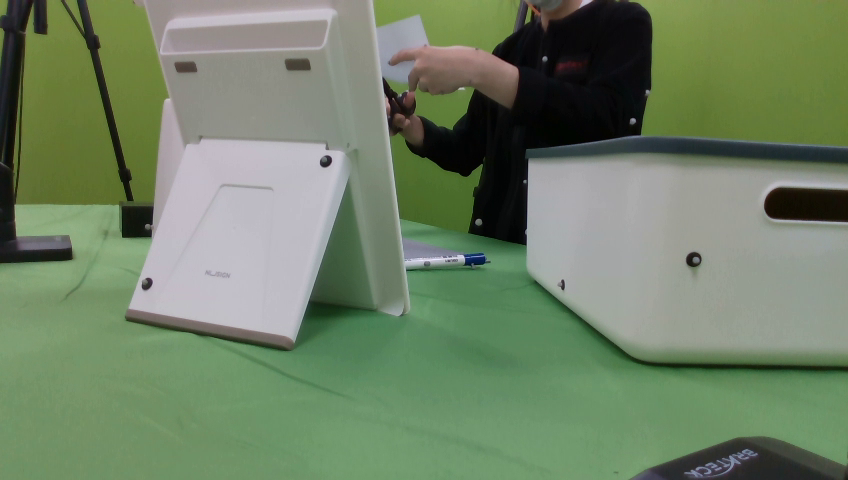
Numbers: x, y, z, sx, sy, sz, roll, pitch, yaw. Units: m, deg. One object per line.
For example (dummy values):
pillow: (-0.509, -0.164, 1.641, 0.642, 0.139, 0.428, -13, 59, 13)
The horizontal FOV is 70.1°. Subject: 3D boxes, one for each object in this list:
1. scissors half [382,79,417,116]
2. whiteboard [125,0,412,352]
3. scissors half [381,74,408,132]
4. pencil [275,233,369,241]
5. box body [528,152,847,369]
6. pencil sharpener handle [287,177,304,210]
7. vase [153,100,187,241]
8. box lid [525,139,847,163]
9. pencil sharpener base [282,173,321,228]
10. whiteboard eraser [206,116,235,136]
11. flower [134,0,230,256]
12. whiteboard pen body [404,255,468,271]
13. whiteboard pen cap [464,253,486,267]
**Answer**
scissors half: (-0.052, -0.266, 1.085, 0.013, 0.040, 0.176, 23, 2, 24)
whiteboard: (-0.151, -0.049, 0.472, 0.216, 0.305, 0.144, 6, 27, 24)
scissors half: (-0.063, -0.248, 1.082, 0.012, 0.040, 0.176, 28, -17, 25)
pencil: (-0.169, -0.006, 1.036, 0.195, 0.012, 0.012, -2, 9, -45)
box body: (0.257, -0.005, 0.591, 0.254, 0.160, 0.363, 2, 7, -4)
pencil sharpener handle: (-0.269, -0.096, 1.257, 0.036, 0.067, 0.030, -8, 8, -27)
vase: (-0.278, -0.066, 0.736, 0.098, 0.200, 0.098, 2, 9, 0)
box lid: (0.261, -0.078, 0.580, 0.264, 0.015, 0.371, 2, 7, -4)
pencil sharpener base: (-0.247, -0.080, 1.212, 0.061, 0.107, 0.076, -2, 5, -28)
whiteboard eraser: (-0.450, -0.252, 1.335, 0.056, 0.042, 0.112, 1, 7, -22)
flower: (-0.282, -0.147, 0.713, 0.038, 0.362, 0.044, -23, 24, -31)
whiteboard pen body: (0.013, 0.030, 0.792, 0.141, 0.017, 0.017, -3, 9, -24)
whiteboard pen cap: (0.066, 0.027, 0.818, 0.033, 0.018, 0.018, -5, 10, -24)
